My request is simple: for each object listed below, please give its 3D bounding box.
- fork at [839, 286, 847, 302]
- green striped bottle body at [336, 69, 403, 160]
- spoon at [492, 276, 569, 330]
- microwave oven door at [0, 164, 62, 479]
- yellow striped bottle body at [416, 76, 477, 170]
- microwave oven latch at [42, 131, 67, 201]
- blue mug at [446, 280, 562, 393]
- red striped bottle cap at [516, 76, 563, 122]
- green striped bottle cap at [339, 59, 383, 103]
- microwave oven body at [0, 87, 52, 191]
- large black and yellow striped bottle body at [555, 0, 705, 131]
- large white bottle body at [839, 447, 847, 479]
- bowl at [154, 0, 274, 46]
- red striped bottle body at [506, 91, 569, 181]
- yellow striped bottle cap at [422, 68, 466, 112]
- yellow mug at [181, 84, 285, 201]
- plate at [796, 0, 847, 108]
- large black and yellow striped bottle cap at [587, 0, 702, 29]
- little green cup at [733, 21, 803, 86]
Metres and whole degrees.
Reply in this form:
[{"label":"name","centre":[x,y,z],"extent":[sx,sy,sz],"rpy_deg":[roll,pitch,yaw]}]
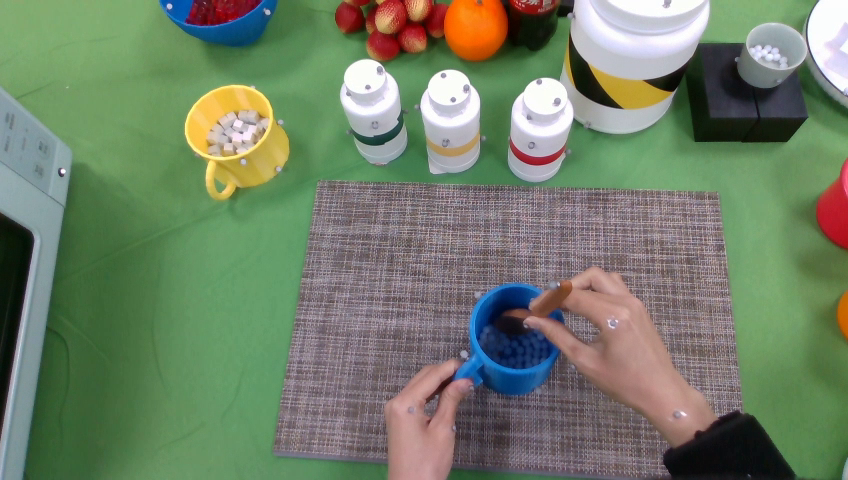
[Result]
[{"label":"fork","centre":[0.462,0.081,0.521],"extent":[0.028,0.019,0.205],"rpy_deg":[-35,25,-9]},{"label":"green striped bottle body","centre":[-0.060,-0.144,0.670],"extent":[0.063,0.120,0.062],"rpy_deg":[-1,67,4]},{"label":"spoon","centre":[0.091,0.057,0.510],"extent":[0.041,0.194,0.021],"rpy_deg":[10,76,-2]},{"label":"microwave oven door","centre":[-0.425,0.078,0.521],"extent":[0.039,0.245,0.353],"rpy_deg":[-7,67,2]},{"label":"yellow striped bottle body","centre":[0.026,-0.131,0.658],"extent":[0.063,0.121,0.062],"rpy_deg":[-2,67,5]},{"label":"microwave oven latch","centre":[-0.435,-0.084,0.698],"extent":[0.030,0.030,0.078],"rpy_deg":[-5,68,2]},{"label":"blue mug","centre":[0.068,0.102,0.563],"extent":[0.116,0.106,0.081],"rpy_deg":[-35,69,-10]},{"label":"red striped bottle cap","centre":[0.114,-0.139,0.598],"extent":[0.044,0.018,0.044],"rpy_deg":[0,66,1]},{"label":"green striped bottle cap","centre":[-0.065,-0.164,0.622],"extent":[0.044,0.020,0.044],"rpy_deg":[-2,66,4]},{"label":"microwave oven body","centre":[-0.573,0.058,0.546],"extent":[0.326,0.262,0.438],"rpy_deg":[-7,68,1]},{"label":"large black and yellow striped bottle body","centre":[0.214,-0.217,0.644],"extent":[0.131,0.185,0.130],"rpy_deg":[-2,67,4]},{"label":"large white bottle body","centre":[0.429,0.194,0.458],"extent":[0.130,0.186,0.129],"rpy_deg":[-2,67,4]},{"label":"bowl","centre":[-0.254,-0.303,0.773],"extent":[0.151,0.077,0.150],"rpy_deg":[-1,68,4]},{"label":"red striped bottle body","centre":[0.119,-0.118,0.646],"extent":[0.063,0.120,0.062],"rpy_deg":[-3,66,6]},{"label":"yellow striped bottle cap","centre":[0.020,-0.151,0.610],"extent":[0.044,0.019,0.044],"rpy_deg":[0,64,0]},{"label":"yellow mug","centre":[-0.223,-0.106,0.696],"extent":[0.100,0.064,0.130],"rpy_deg":[11,70,9]},{"label":"plate","centre":[0.536,-0.220,0.700],"extent":[0.209,0.038,0.207],"rpy_deg":[-1,68,4]},{"label":"large black and yellow striped bottle cap","centre":[0.207,-0.248,0.566],"extent":[0.115,0.019,0.114],"rpy_deg":[-2,66,4]},{"label":"little green cup","centre":[0.364,-0.198,0.649],"extent":[0.061,0.039,0.061],"rpy_deg":[-1,65,2]}]
